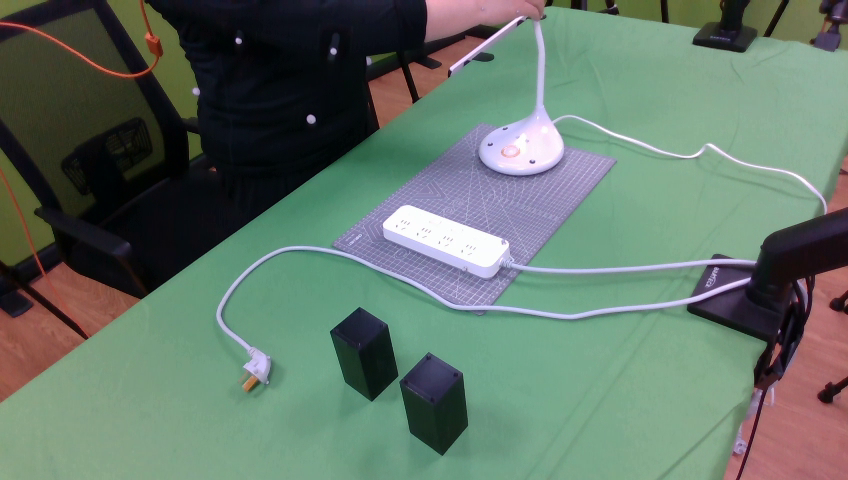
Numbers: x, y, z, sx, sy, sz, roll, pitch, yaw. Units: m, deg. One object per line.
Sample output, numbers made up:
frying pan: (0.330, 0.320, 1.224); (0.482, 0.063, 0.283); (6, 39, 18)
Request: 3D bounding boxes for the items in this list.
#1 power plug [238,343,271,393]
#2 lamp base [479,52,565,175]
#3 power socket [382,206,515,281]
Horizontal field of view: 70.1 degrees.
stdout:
power plug: (-0.230, 0.172, 0.800); (0.072, 0.035, 0.053); (7, 50, 48)
lamp base: (0.182, -0.236, 1.094); (0.159, 0.181, 0.179); (18, 43, 27)
power socket: (0.032, 0.002, 0.950); (0.225, 0.033, 0.072); (21, 49, 29)
